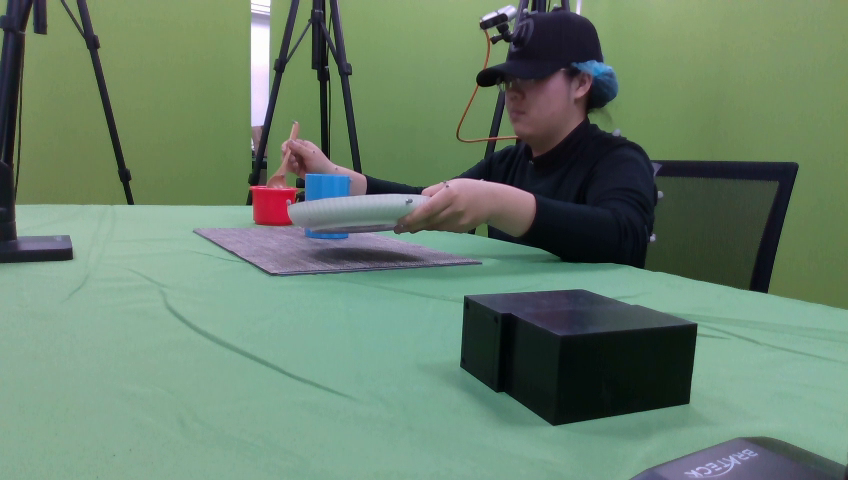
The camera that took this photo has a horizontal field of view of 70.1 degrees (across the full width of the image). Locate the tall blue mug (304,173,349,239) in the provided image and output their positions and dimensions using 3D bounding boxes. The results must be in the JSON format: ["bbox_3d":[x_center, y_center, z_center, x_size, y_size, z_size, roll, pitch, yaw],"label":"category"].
[{"bbox_3d":[-0.178,-0.062,1.062,0.078,0.108,0.106,-4,10,-38],"label":"tall blue mug"}]

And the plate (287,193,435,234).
[{"bbox_3d":[-0.087,-0.033,0.855,0.208,0.039,0.207,-4,-3,0],"label":"plate"}]

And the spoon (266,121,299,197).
[{"bbox_3d":[-0.288,-0.171,1.262,0.042,0.193,0.021,23,-26,-22],"label":"spoon"}]
